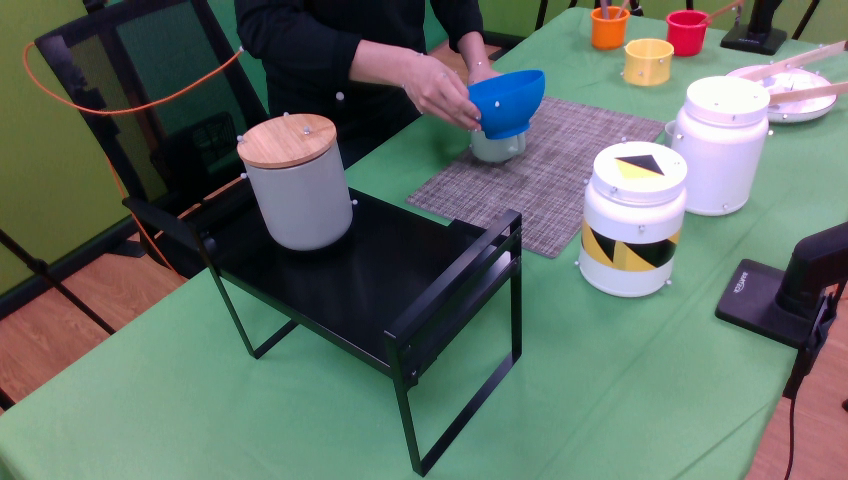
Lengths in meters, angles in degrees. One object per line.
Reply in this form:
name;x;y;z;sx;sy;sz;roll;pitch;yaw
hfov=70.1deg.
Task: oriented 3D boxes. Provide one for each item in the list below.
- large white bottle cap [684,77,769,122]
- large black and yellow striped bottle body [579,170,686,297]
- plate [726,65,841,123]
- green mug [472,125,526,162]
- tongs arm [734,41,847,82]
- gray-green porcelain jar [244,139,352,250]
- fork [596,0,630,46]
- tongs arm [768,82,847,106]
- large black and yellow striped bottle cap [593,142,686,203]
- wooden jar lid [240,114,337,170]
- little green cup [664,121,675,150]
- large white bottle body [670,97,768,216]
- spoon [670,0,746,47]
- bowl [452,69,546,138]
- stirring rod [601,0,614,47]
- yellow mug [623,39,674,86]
large white bottle cap;0.448;-0.209;0.898;0.115;0.018;0.114;-4;40;4
large black and yellow striped bottle body;0.287;-0.027;0.841;0.131;0.185;0.130;-4;40;4
plate;0.695;-0.282;1.189;0.207;0.039;0.206;-4;40;4
green mug;0.144;-0.202;1.122;0.093;0.105;0.124;-29;45;-23
tongs arm;0.712;-0.332;1.194;0.386;0.026;0.050;-18;45;-16
gray-green porcelain jar;-0.144;-0.060;0.714;0.106;0.127;0.105;-4;41;4
fork;0.481;-0.556;1.453;0.028;0.019;0.207;40;103;38
tongs arm;0.738;-0.282;1.134;0.388;0.028;0.028;-9;46;-5
large black and yellow striped bottle cap;0.280;-0.090;0.786;0.115;0.019;0.114;-5;41;5
wooden jar lid;-0.149;-0.106;0.674;0.108;0.021;0.108;-6;39;5
little green cup;0.472;-0.188;1.113;0.061;0.039;0.061;-5;40;4
large white bottle body;0.458;-0.146;0.952;0.130;0.185;0.130;-4;40;4
spoon;0.629;-0.485;1.350;0.022;0.193;0.042;48;54;-7
bowl;0.127;-0.213;0.970;0.151;0.077;0.151;-14;23;7
stirring rod;0.439;-0.552;1.463;0.014;0.006;0.175;-7;83;3
yellow mug;0.485;-0.398;1.334;0.100;0.064;0.130;-18;41;-10
